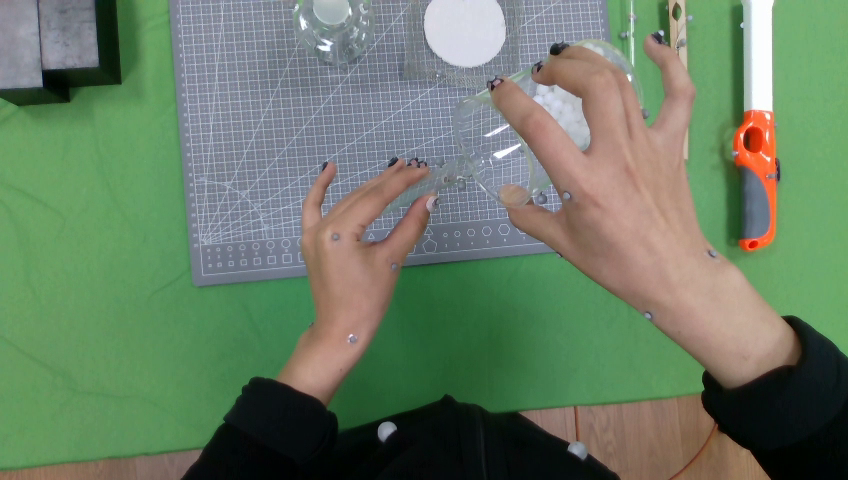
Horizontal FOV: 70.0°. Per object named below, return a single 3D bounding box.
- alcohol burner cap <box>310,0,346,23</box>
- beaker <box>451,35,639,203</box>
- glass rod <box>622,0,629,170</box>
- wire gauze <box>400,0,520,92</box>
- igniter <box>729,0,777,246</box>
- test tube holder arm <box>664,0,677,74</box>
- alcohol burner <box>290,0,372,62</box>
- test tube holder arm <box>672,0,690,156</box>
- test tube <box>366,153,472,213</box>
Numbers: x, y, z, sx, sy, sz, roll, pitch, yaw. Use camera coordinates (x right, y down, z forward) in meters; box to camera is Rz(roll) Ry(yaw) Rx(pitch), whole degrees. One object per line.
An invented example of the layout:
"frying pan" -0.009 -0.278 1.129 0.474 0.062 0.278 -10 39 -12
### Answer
"alcohol burner cap" -0.085 -0.215 0.529 0.034 0.048 0.033 1 81 -5
"beaker" 0.077 -0.078 0.383 0.100 0.084 0.074 -32 96 -19
"glass rod" 0.216 -0.174 0.647 0.008 0.008 0.199 0 90 -6
"wire gauze" 0.040 -0.222 0.631 0.125 0.011 0.121 6 88 -6
"igniter" 0.353 -0.131 0.650 0.057 0.025 0.276 2 88 -16
"test tube holder arm" 0.266 -0.223 0.651 0.010 0.015 0.087 -4 89 31
"alcohol burner" -0.088 -0.212 0.565 0.078 0.119 0.078 0 88 -3
"test tube holder arm" 0.274 -0.179 0.647 0.013 0.015 0.178 -5 88 31
"test tube" -0.010 -0.041 0.468 0.017 0.150 0.017 5 79 -29
